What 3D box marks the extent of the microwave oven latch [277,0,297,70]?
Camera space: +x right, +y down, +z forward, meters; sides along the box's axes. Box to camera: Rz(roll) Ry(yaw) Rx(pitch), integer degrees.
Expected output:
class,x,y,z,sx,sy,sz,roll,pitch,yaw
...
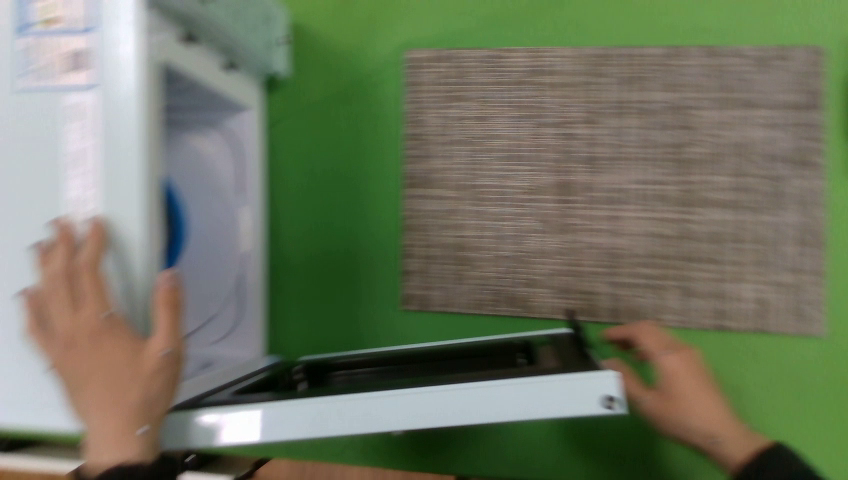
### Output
class,x,y,z,sx,sy,sz,roll,pitch,yaw
microwave oven latch,-0.160,-0.234,0.684,0.030,0.029,0.079,1,90,8

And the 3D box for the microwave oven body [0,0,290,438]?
class,x,y,z,sx,sy,sz,roll,pitch,yaw
microwave oven body,-0.325,-0.063,0.608,0.325,0.260,0.441,1,90,7

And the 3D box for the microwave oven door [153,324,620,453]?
class,x,y,z,sx,sy,sz,roll,pitch,yaw
microwave oven door,-0.019,0.128,0.559,0.355,0.244,0.039,-8,87,8
